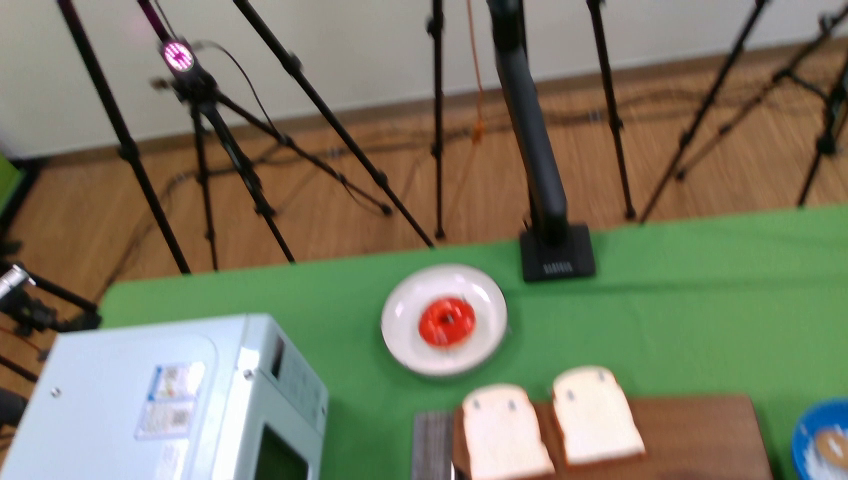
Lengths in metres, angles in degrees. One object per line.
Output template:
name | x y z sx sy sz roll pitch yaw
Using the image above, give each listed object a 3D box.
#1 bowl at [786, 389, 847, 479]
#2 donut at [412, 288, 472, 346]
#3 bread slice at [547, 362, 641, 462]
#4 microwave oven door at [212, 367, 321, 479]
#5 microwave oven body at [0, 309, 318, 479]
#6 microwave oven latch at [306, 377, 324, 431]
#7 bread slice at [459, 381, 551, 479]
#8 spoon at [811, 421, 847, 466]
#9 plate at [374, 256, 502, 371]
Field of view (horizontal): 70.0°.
bowl | 0.508 0.263 0.722 0.151 0.077 0.150 -7 52 9
donut | 0.028 0.122 0.962 0.099 0.049 0.098 -9 52 12
bread slice | 0.221 0.228 0.823 0.105 0.019 0.130 -12 51 3
microwave oven door | -0.189 0.358 0.696 0.039 0.246 0.352 -8 52 9
microwave oven body | -0.331 0.347 0.747 0.326 0.263 0.437 -7 53 8
microwave oven latch | -0.168 0.246 0.908 0.030 0.030 0.078 -6 53 9
bread slice | 0.101 0.259 0.828 0.107 0.018 0.133 -16 50 1
spoon | 0.514 0.275 0.670 0.041 0.022 0.191 -20 31 -9
plate | 0.024 0.121 0.979 0.207 0.039 0.205 -7 52 9
